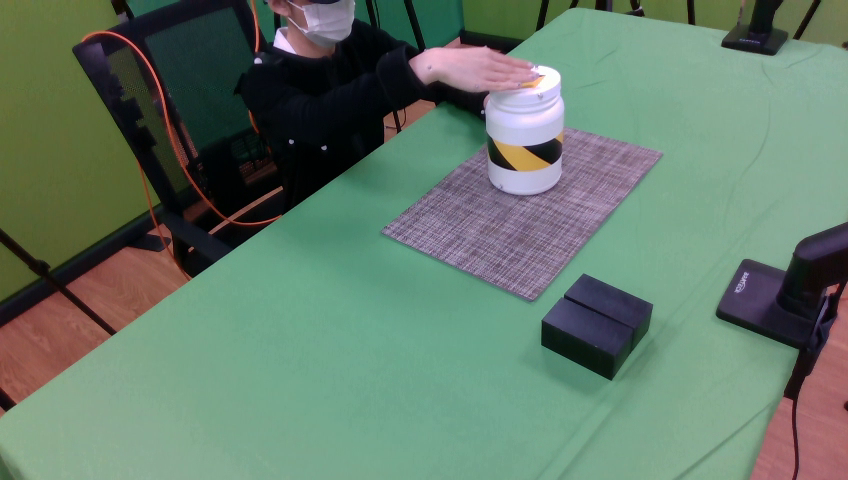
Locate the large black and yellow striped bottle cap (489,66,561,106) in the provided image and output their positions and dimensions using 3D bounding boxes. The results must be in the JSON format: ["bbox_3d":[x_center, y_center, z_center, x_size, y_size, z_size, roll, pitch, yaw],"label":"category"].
[{"bbox_3d":[0.163,-0.251,0.978,0.115,0.019,0.114,-6,39,5],"label":"large black and yellow striped bottle cap"}]

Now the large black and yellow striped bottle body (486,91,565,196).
[{"bbox_3d":[0.173,-0.183,1.034,0.131,0.185,0.130,-5,41,4],"label":"large black and yellow striped bottle body"}]
